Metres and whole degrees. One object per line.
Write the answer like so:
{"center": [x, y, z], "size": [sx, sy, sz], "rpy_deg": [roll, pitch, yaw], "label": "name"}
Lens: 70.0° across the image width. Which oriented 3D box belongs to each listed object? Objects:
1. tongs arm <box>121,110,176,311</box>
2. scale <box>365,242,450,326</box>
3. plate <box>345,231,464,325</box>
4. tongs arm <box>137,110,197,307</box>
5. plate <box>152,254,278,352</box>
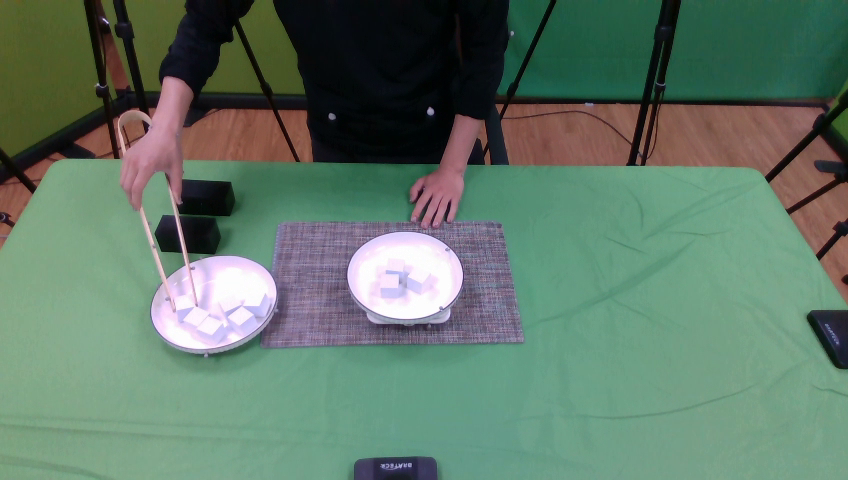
{"center": [-0.477, -0.058, 1.072], "size": [0.051, 0.026, 0.383], "rpy_deg": [-19, 76, -23], "label": "tongs arm"}
{"center": [-0.032, 0.071, 1.113], "size": [0.149, 0.032, 0.199], "rpy_deg": [0, 46, -4], "label": "scale"}
{"center": [-0.034, 0.069, 1.069], "size": [0.209, 0.038, 0.208], "rpy_deg": [2, 46, -2], "label": "plate"}
{"center": [-0.456, -0.063, 1.081], "size": [0.028, 0.028, 0.386], "rpy_deg": [-15, 75, -18], "label": "tongs arm"}
{"center": [-0.357, 0.111, 1.052], "size": [0.208, 0.039, 0.206], "rpy_deg": [2, 46, -2], "label": "plate"}
